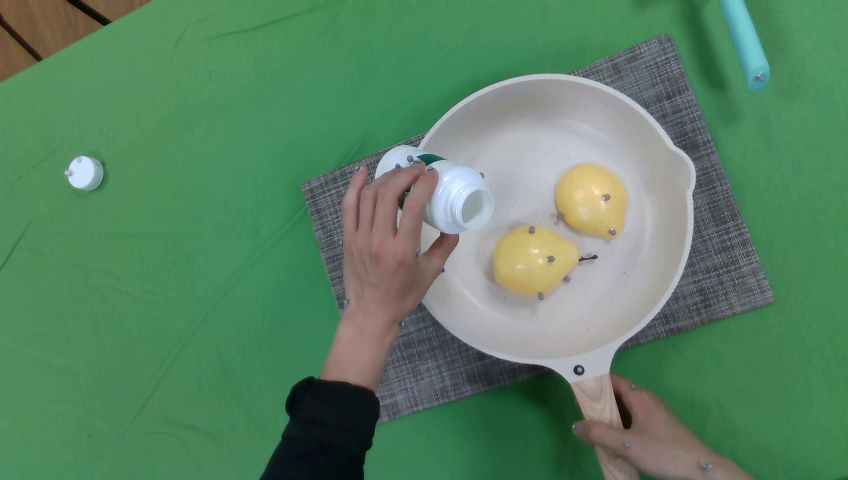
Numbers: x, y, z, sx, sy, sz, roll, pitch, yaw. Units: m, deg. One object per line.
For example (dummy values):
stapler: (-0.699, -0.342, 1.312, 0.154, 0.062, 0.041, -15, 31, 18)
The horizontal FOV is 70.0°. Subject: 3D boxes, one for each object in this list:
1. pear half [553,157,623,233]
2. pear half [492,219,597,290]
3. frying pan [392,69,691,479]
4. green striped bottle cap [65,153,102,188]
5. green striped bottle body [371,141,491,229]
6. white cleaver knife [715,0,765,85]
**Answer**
pear half: (0.175, -0.047, 0.640, 0.070, 0.031, 0.087, -36, 77, 15)
pear half: (0.126, 0.014, 0.638, 0.109, 0.056, 0.076, -7, 91, 11)
frying pan: (0.142, 0.071, 0.608, 0.306, 0.103, 0.485, -18, 76, 13)
green striped bottle cap: (-0.450, -0.092, 0.802, 0.044, 0.020, 0.044, -1, 88, 14)
green striped bottle body: (0.008, -0.050, 0.557, 0.118, 0.064, 0.063, 28, 95, 47)
white cleaver knife: (0.284, -0.289, 0.609, 0.021, 0.066, 0.285, -18, 82, 18)
